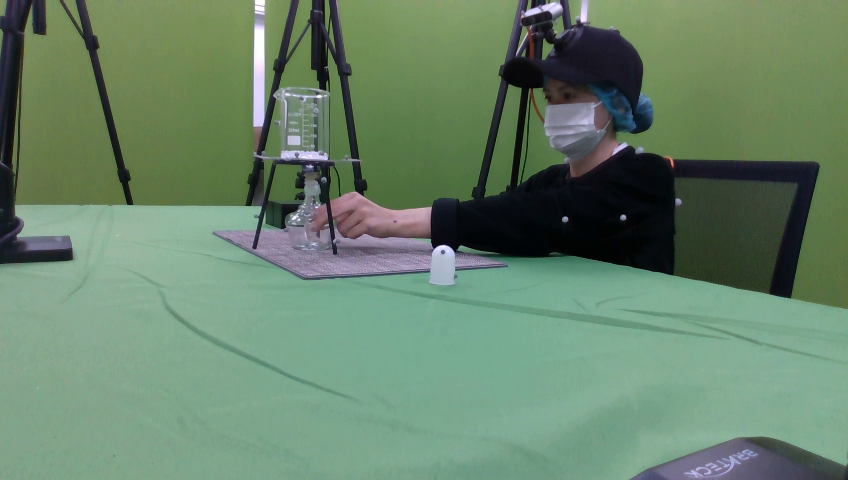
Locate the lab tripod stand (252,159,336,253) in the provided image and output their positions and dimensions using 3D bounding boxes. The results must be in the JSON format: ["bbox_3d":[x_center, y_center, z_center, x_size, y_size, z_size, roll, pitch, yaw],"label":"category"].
[{"bbox_3d":[-0.181,-0.053,0.899,0.148,0.131,0.148,1,6,0],"label":"lab tripod stand"}]

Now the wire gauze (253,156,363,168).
[{"bbox_3d":[-0.172,-0.117,0.891,0.122,0.011,0.124,0,3,-38],"label":"wire gauze"}]

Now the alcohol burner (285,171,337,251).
[{"bbox_3d":[-0.168,-0.043,0.905,0.078,0.119,0.078,3,6,0],"label":"alcohol burner"}]

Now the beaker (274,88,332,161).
[{"bbox_3d":[-0.177,-0.165,0.879,0.084,0.100,0.074,2,5,1],"label":"beaker"}]

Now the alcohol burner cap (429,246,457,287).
[{"bbox_3d":[0.024,0.030,0.705,0.034,0.048,0.034,2,7,0],"label":"alcohol burner cap"}]
